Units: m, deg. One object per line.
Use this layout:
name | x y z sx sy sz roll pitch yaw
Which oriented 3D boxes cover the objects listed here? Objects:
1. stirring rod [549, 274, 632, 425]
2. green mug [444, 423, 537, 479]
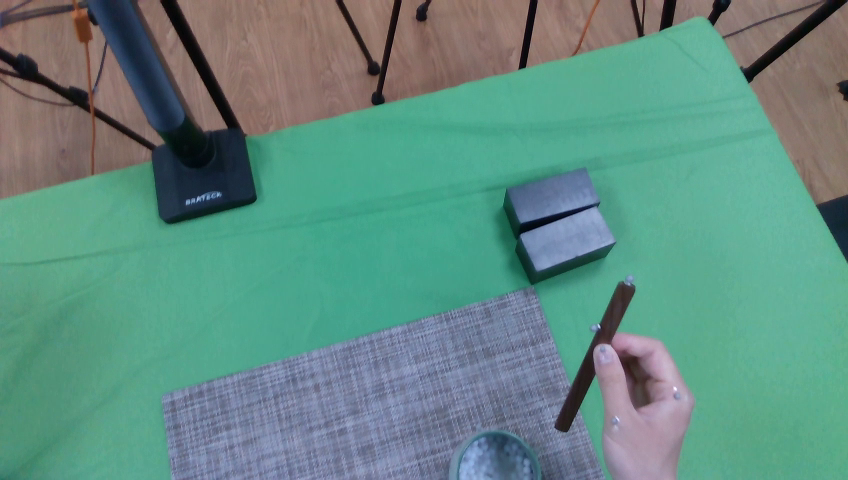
stirring rod | 0.134 0.097 0.500 0.014 0.177 0.006 19 37 9
green mug | 0.076 0.241 0.601 0.092 0.105 0.124 -32 72 -10
